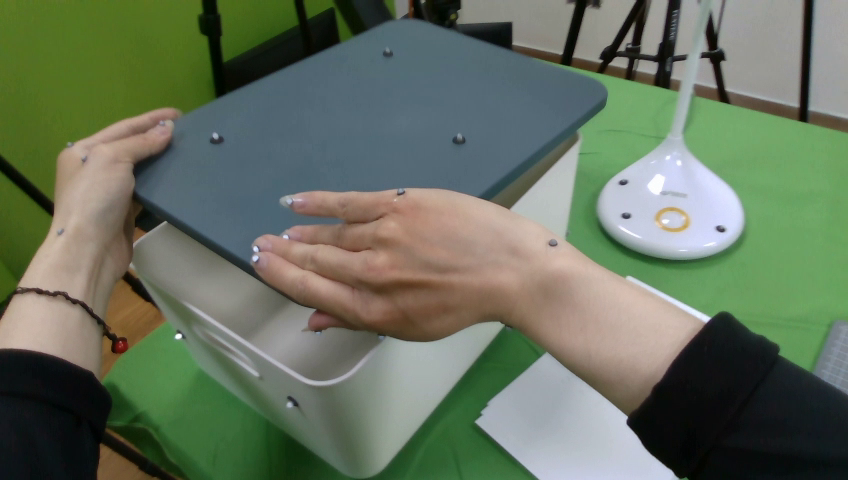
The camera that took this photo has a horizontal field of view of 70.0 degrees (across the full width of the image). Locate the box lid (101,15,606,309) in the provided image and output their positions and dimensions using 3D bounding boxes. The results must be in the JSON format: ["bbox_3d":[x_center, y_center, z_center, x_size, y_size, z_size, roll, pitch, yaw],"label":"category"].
[{"bbox_3d":[-0.042,-0.100,0.503,0.261,0.015,0.371,27,49,28],"label":"box lid"}]

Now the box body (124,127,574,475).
[{"bbox_3d":[-0.046,0.009,0.597,0.252,0.162,0.363,24,50,29],"label":"box body"}]

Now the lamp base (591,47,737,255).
[{"bbox_3d":[0.271,-0.104,0.664,0.160,0.182,0.177,1,40,9],"label":"lamp base"}]
